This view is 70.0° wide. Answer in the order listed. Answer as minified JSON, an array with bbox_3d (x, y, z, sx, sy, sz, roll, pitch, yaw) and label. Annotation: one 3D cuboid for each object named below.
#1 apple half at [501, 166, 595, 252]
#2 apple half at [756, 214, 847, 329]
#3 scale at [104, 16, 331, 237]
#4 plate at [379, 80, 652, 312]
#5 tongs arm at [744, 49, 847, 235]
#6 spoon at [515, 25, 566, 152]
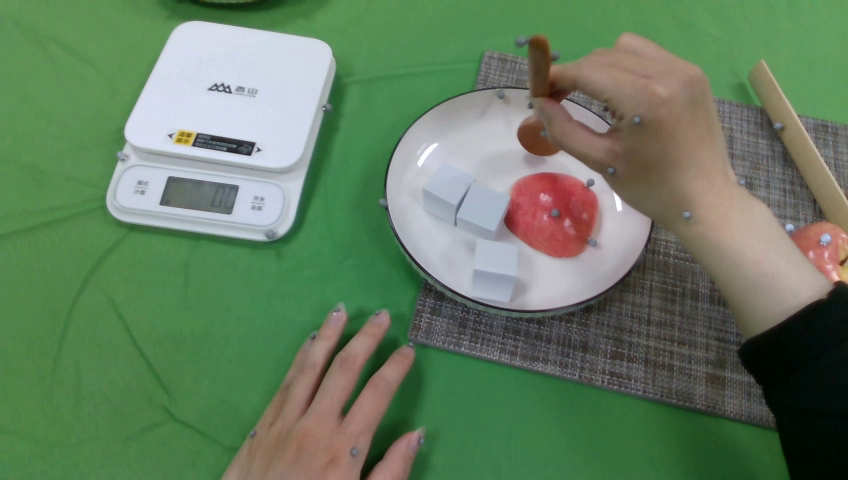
[{"bbox_3d":[0.099,-0.032,0.473,0.081,0.033,0.080,3,63,-5],"label":"apple half"},{"bbox_3d":[0.273,0.029,0.436,0.053,0.075,0.080,-22,69,-10],"label":"apple half"},{"bbox_3d":[-0.167,-0.101,0.507,0.148,0.032,0.199,8,62,1],"label":"scale"},{"bbox_3d":[0.070,-0.036,0.479,0.209,0.038,0.207,2,62,-3],"label":"plate"},{"bbox_3d":[0.350,-0.005,0.484,0.028,0.028,0.384,-8,63,-12],"label":"tongs arm"},{"bbox_3d":[0.081,-0.096,0.420,0.041,0.194,0.021,12,86,12],"label":"spoon"}]
